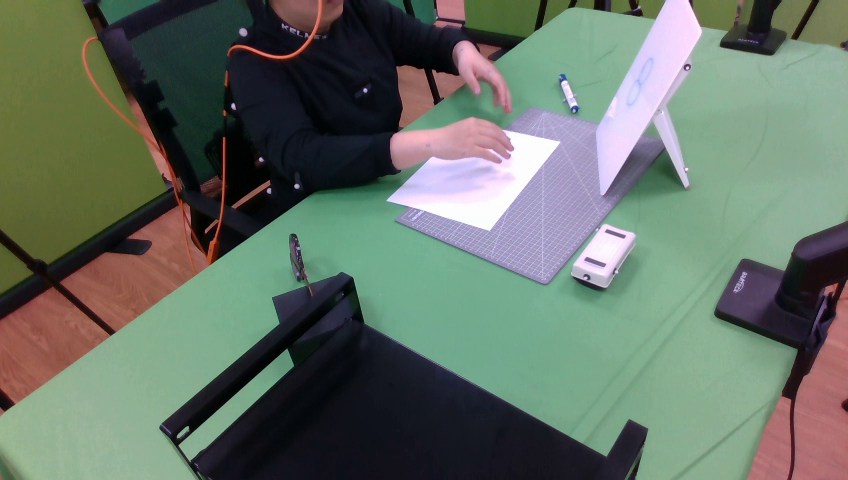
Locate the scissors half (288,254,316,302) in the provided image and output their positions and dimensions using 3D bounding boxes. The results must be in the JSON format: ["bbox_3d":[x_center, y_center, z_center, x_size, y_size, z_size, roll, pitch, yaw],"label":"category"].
[{"bbox_3d":[-0.178,0.058,0.894,0.013,0.040,0.174,-16,20,-17],"label":"scissors half"}]

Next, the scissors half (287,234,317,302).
[{"bbox_3d":[-0.179,0.040,0.884,0.013,0.040,0.173,-11,36,-20],"label":"scissors half"}]

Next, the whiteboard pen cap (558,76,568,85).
[{"bbox_3d":[0.309,-0.350,1.340,0.018,0.018,0.033,-6,41,2],"label":"whiteboard pen cap"}]

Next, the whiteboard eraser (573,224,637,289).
[{"bbox_3d":[0.267,0.025,0.890,0.055,0.042,0.113,19,47,31],"label":"whiteboard eraser"}]

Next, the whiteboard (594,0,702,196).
[{"bbox_3d":[0.420,-0.227,1.010,0.144,0.305,0.216,18,42,-2],"label":"whiteboard"}]

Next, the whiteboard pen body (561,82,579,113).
[{"bbox_3d":[0.310,-0.311,1.297,0.017,0.017,0.140,-6,41,3],"label":"whiteboard pen body"}]
